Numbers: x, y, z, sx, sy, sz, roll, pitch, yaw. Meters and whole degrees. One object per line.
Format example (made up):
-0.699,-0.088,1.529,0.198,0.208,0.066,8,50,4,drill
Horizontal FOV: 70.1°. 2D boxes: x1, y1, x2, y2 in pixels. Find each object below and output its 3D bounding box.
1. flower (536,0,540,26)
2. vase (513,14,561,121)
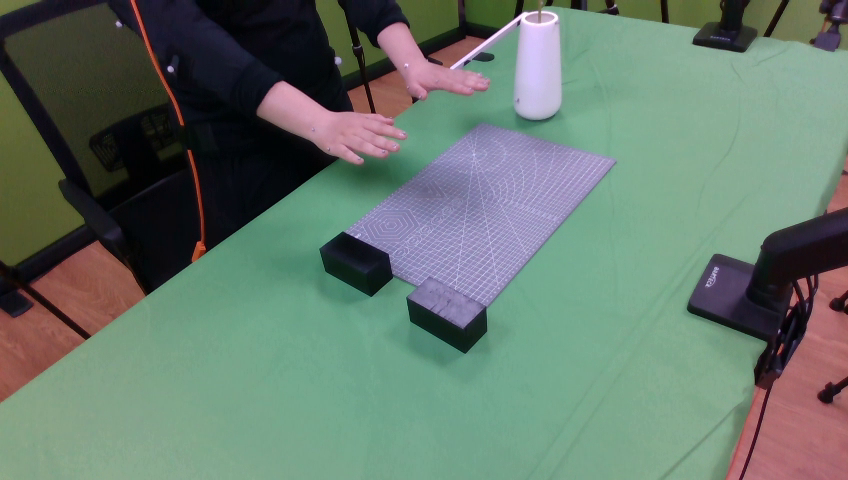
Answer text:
0.214,-0.386,1.130,0.044,0.363,0.038,10,62,14,flower
0.225,-0.336,1.196,0.098,0.201,0.097,-5,42,5,vase
